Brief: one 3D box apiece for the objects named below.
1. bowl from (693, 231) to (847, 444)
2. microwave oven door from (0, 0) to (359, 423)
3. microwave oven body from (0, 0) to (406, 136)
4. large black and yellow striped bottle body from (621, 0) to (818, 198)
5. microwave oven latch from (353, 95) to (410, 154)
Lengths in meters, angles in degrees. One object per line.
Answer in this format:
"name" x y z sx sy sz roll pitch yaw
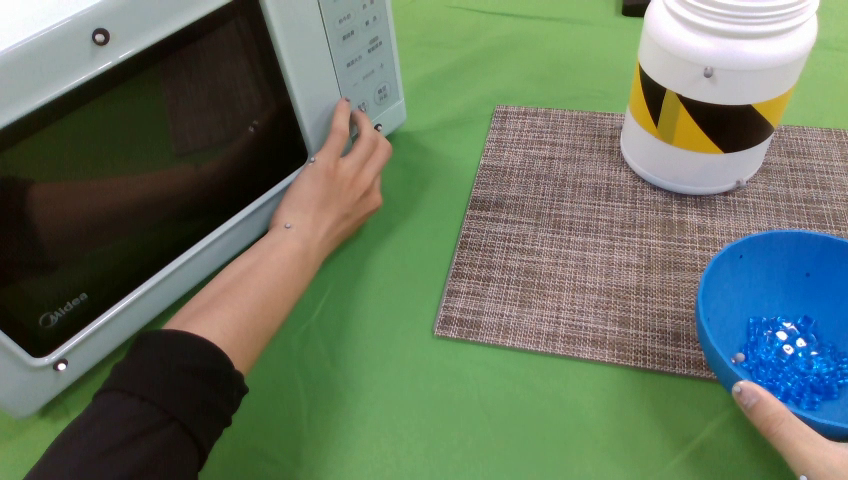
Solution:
"bowl" 0.254 0.075 0.408 0.151 0.077 0.150 -3 49 4
"microwave oven door" -0.205 -0.053 0.445 0.039 0.246 0.355 31 60 29
"microwave oven body" -0.286 -0.141 0.537 0.323 0.263 0.441 32 60 28
"large black and yellow striped bottle body" 0.249 -0.142 0.523 0.131 0.186 0.129 -3 49 4
"microwave oven latch" -0.050 -0.121 0.620 0.079 0.030 0.030 -38 56 -23
